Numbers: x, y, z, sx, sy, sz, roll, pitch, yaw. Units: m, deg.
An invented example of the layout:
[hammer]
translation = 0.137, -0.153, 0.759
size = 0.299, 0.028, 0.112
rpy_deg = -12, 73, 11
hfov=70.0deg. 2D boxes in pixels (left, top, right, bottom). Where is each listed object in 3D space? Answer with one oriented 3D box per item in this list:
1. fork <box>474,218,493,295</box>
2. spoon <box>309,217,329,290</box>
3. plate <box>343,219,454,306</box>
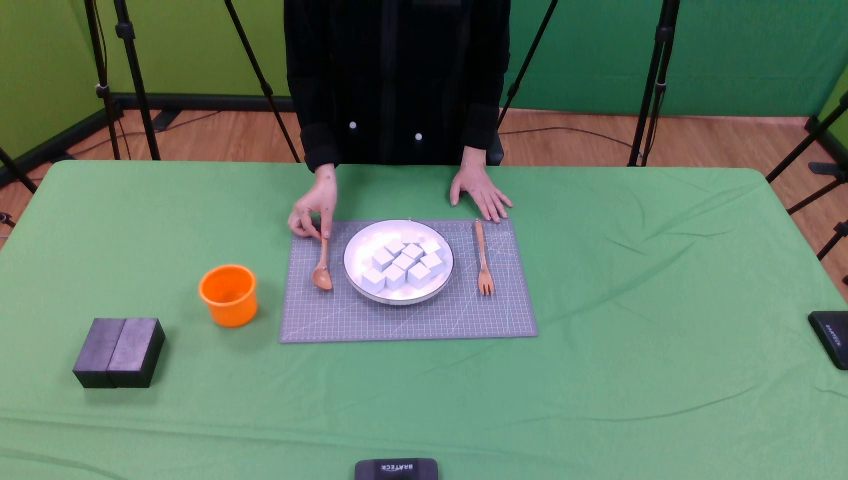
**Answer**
[fork]
translation = 0.112, 0.029, 1.177
size = 0.028, 0.019, 0.206
rpy_deg = -3, 48, 0
[spoon]
translation = -0.195, 0.021, 1.152
size = 0.042, 0.021, 0.192
rpy_deg = 24, 40, -27
[plate]
translation = -0.047, 0.045, 1.136
size = 0.208, 0.039, 0.206
rpy_deg = 2, 46, -2
